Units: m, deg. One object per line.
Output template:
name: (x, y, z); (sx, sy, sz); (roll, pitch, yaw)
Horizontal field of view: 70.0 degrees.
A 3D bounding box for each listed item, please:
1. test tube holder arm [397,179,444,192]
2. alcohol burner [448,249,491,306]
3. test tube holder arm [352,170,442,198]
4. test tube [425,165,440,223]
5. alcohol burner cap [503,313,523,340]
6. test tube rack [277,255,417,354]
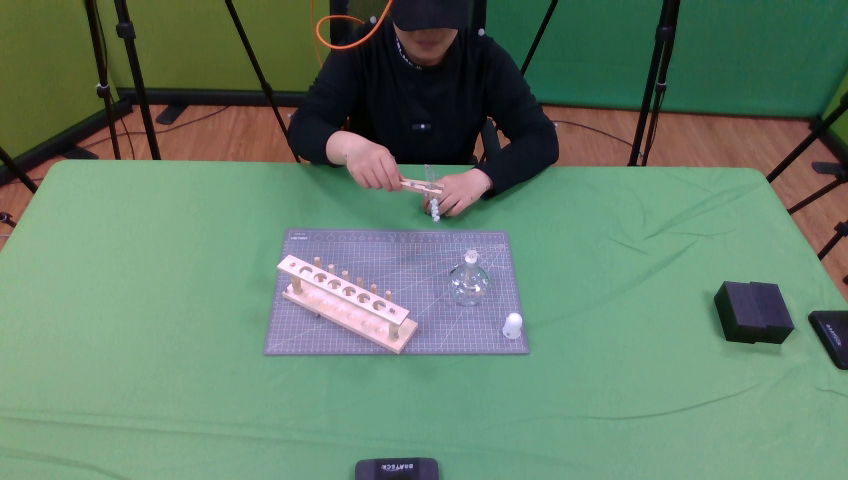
test tube holder arm: (-0.007, -0.099, 1.098); (0.088, 0.015, 0.010); (8, 51, 12)
alcohol burner: (0.081, 0.062, 1.078); (0.078, 0.120, 0.077); (1, 45, -1)
test tube holder arm: (-0.051, -0.104, 1.105); (0.178, 0.015, 0.013); (13, 52, 16)
test tube: (0.016, -0.081, 1.104); (0.017, 0.151, 0.017); (-3, 54, 4)
alcohol burner cap: (0.155, 0.147, 1.051); (0.034, 0.048, 0.033); (1, 45, -1)
test tube rack: (-0.131, 0.099, 1.045); (0.241, 0.085, 0.066); (23, 49, 17)
